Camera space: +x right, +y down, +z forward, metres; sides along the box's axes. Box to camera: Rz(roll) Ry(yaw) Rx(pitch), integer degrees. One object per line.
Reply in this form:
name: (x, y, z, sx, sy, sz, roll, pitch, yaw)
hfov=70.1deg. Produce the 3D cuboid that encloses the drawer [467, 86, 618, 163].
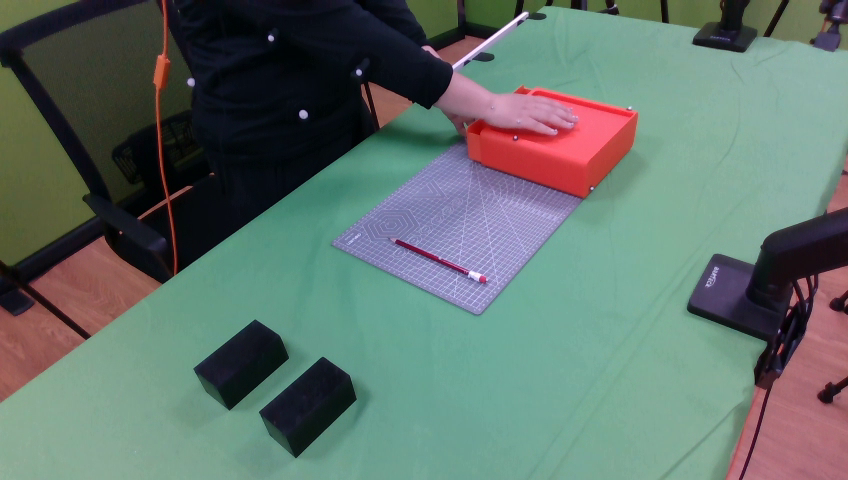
drawer: (0.219, -0.194, 1.118, 0.210, 0.073, 0.195, 25, 49, 31)

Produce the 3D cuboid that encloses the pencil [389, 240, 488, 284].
pencil: (0.018, 0.030, 0.938, 0.192, 0.012, 0.012, 22, 48, 32)

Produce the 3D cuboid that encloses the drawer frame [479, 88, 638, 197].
drawer frame: (0.244, -0.184, 1.101, 0.212, 0.083, 0.202, 23, 48, 30)
